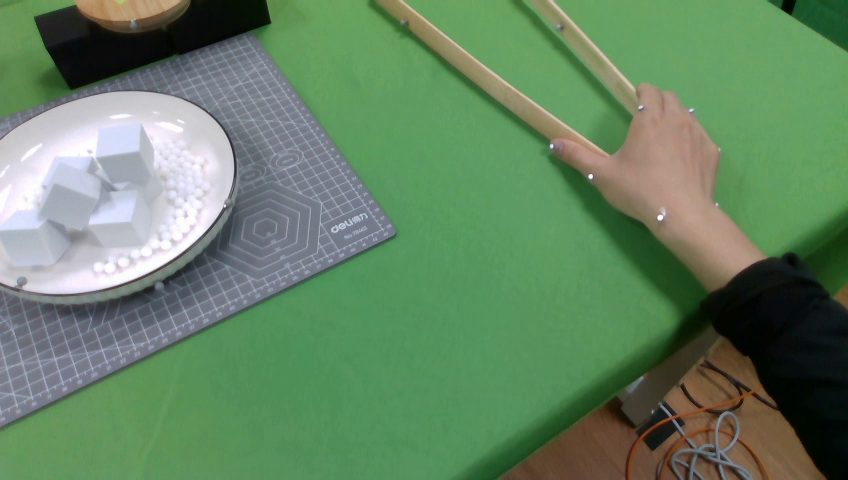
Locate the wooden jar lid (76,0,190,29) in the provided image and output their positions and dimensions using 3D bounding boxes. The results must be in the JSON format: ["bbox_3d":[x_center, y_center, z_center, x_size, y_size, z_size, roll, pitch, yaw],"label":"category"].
[{"bbox_3d":[-0.268,-0.235,0.568,0.108,0.021,0.107,1,57,-2],"label":"wooden jar lid"}]

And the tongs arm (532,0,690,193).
[{"bbox_3d":[0.138,-0.198,0.604,0.051,0.027,0.381,-24,61,-16],"label":"tongs arm"}]

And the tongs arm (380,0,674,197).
[{"bbox_3d":[0.070,-0.160,0.581,0.028,0.028,0.384,-35,64,-25],"label":"tongs arm"}]

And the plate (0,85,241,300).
[{"bbox_3d":[-0.250,-0.040,0.484,0.209,0.038,0.207,1,56,-1],"label":"plate"}]
